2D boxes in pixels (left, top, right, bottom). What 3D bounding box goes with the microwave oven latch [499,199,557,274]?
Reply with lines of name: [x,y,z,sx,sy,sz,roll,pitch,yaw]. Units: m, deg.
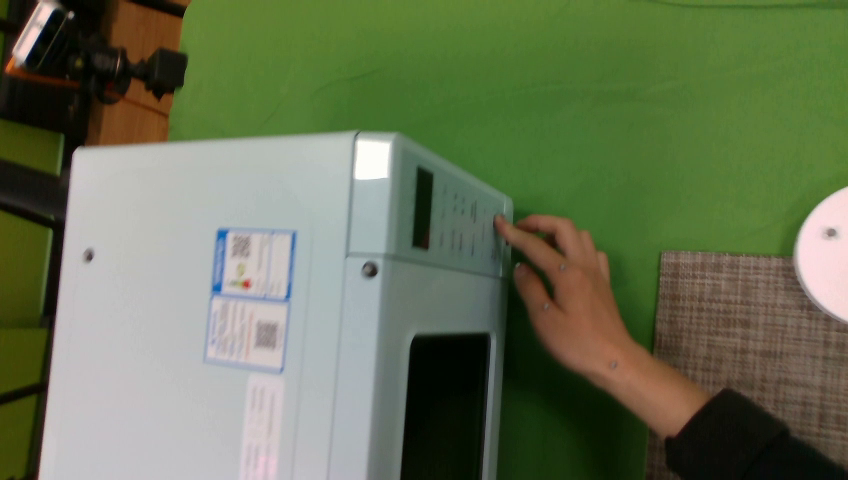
microwave oven latch: [0.084,-0.005,0.553,0.030,0.030,0.078,-45,68,15]

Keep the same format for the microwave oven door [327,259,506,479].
microwave oven door: [-0.001,0.198,0.457,0.039,0.245,0.355,2,85,26]

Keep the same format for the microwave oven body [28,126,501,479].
microwave oven body: [-0.127,0.152,0.527,0.324,0.262,0.440,2,85,25]

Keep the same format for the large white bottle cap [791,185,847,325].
large white bottle cap: [0.342,0.011,0.454,0.114,0.018,0.114,-4,82,25]

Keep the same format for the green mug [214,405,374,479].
green mug: [-0.106,0.197,0.537,0.125,0.105,0.092,-12,82,17]
